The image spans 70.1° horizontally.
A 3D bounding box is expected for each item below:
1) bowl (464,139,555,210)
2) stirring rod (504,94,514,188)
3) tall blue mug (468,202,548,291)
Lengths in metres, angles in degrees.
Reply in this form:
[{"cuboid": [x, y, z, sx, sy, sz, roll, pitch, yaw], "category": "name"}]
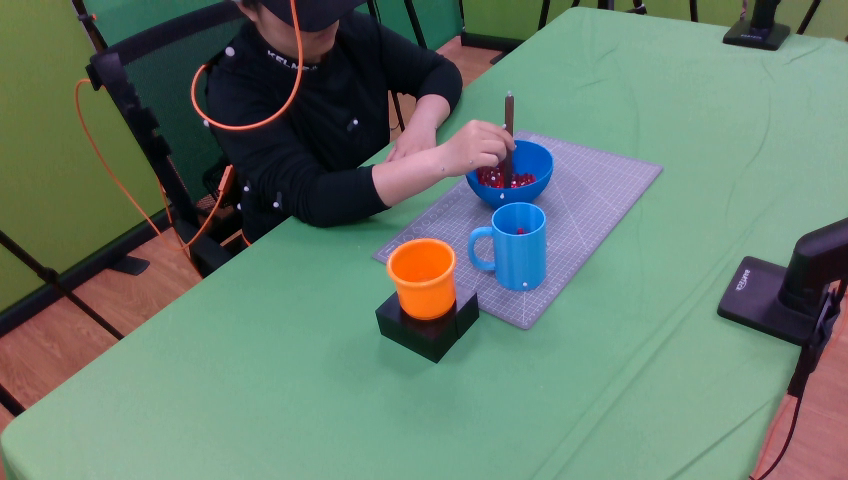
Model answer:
[{"cuboid": [0.145, -0.100, 1.025, 0.151, 0.077, 0.150, -5, 40, 5], "category": "bowl"}, {"cuboid": [0.135, -0.146, 0.964, 0.014, 0.177, 0.006, -11, 33, -11], "category": "stirring rod"}, {"cuboid": [0.125, 0.015, 0.869, 0.107, 0.108, 0.077, -21, 42, -14], "category": "tall blue mug"}]
